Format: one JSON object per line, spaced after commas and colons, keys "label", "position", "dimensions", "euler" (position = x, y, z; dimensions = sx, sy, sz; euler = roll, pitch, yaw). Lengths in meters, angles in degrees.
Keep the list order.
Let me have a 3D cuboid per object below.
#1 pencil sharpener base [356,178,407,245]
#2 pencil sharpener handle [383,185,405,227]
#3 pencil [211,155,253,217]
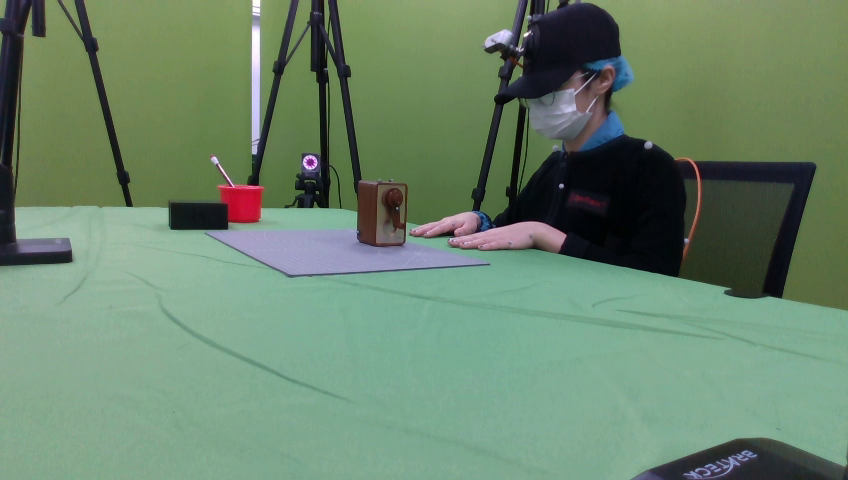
{"label": "pencil sharpener base", "position": [-0.071, -0.049, 1.018], "dimensions": [0.062, 0.107, 0.076], "euler": [-2, 9, -32]}
{"label": "pencil sharpener handle", "position": [-0.043, -0.054, 0.975], "dimensions": [0.036, 0.067, 0.030], "euler": [-10, 13, -31]}
{"label": "pencil", "position": [-0.422, -0.120, 1.331], "dimensions": [0.012, 0.012, 0.193], "euler": [-8, 53, -52]}
